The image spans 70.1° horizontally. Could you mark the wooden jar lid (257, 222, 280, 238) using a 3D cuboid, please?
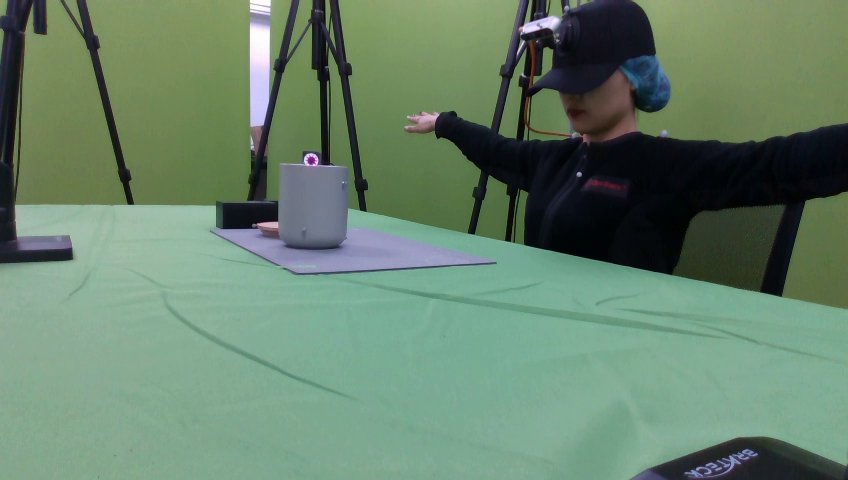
[{"bbox_3d":[-0.234,-0.018,1.053,0.108,0.020,0.108,2,9,0],"label":"wooden jar lid"}]

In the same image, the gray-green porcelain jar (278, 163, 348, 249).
[{"bbox_3d":[-0.171,-0.053,0.934,0.106,0.126,0.106,2,7,0],"label":"gray-green porcelain jar"}]
